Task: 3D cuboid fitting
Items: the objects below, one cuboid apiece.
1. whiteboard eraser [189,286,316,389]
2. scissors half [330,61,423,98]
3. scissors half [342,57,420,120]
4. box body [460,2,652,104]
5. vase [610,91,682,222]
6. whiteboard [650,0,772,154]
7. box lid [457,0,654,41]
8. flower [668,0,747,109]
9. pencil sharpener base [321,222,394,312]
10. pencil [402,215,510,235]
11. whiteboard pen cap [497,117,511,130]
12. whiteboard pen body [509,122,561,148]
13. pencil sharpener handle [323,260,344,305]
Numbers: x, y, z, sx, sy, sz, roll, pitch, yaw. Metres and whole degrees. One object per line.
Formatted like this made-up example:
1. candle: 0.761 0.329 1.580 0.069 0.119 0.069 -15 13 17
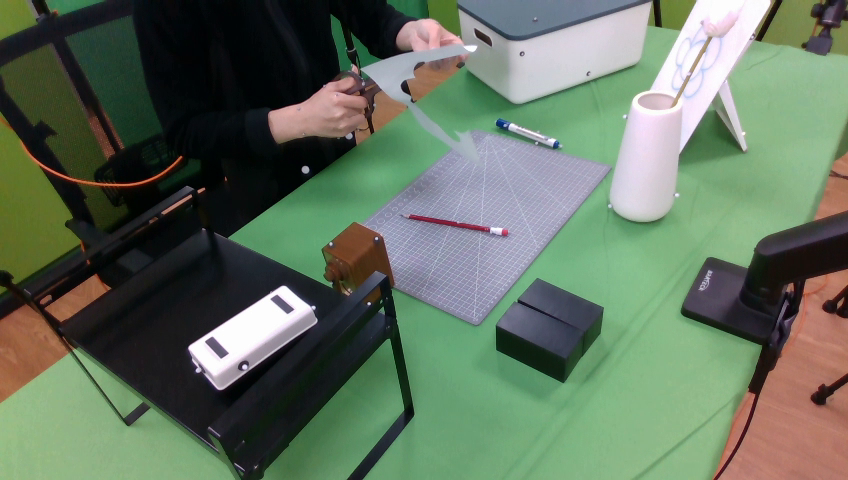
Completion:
1. whiteboard eraser: -0.166 0.096 0.593 0.113 0.042 0.055 -36 47 -29
2. scissors half: -0.076 -0.249 0.917 0.174 0.040 0.013 -4 34 31
3. scissors half: -0.065 -0.231 0.924 0.174 0.040 0.013 -29 14 41
4. box body: 0.291 -0.465 1.371 0.365 0.161 0.252 -22 42 -16
5. vase: 0.348 -0.125 0.935 0.098 0.201 0.097 -3 40 3
6. whiteboard: 0.543 -0.298 1.076 0.144 0.305 0.216 12 40 -7
7. box lid: 0.285 -0.522 1.323 0.373 0.015 0.261 -22 43 -16
8. flower: 0.354 -0.187 0.879 0.038 0.362 0.044 30 48 14
9. pencil sharpener base: -0.096 0.041 0.873 0.061 0.107 0.077 26 54 32
10. pencil: 0.049 -0.027 1.007 0.193 0.012 0.012 10 43 21
11. whiteboard pen cap: 0.165 -0.235 1.227 0.033 0.018 0.018 32 53 30
12. whiteboard pen body: 0.209 -0.212 1.195 0.139 0.017 0.017 30 52 33
13. pencil sharpener handle: -0.131 0.062 0.839 0.035 0.068 0.031 29 55 28
